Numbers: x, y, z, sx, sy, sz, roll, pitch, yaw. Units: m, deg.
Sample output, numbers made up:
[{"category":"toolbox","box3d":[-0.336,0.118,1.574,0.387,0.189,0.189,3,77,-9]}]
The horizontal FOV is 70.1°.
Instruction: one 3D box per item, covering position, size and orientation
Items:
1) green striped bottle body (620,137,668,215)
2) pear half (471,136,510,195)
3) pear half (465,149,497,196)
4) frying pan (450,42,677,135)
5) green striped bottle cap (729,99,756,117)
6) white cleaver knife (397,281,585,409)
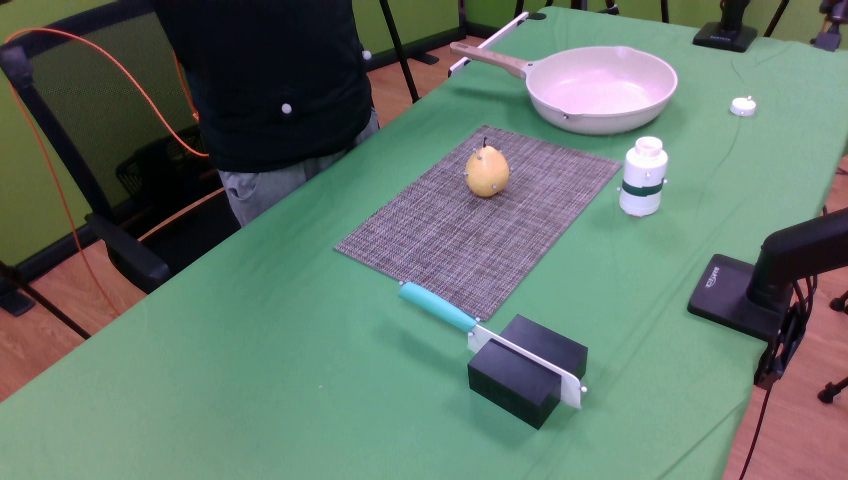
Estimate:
[{"category":"green striped bottle body","box3d":[0.350,-0.103,0.963,0.063,0.120,0.063,-4,41,4]},{"category":"pear half","box3d":[0.115,-0.136,1.036,0.076,0.110,0.056,31,53,30]},{"category":"pear half","box3d":[0.091,-0.110,1.025,0.070,0.088,0.031,30,52,30]},{"category":"frying pan","box3d":[0.268,-0.344,1.266,0.485,0.103,0.307,26,49,21]},{"category":"green striped bottle cap","box3d":[0.623,-0.259,1.182,0.044,0.020,0.044,-3,40,3]},{"category":"white cleaver knife","box3d":[0.074,0.131,0.770,0.284,0.066,0.021,27,45,31]}]
